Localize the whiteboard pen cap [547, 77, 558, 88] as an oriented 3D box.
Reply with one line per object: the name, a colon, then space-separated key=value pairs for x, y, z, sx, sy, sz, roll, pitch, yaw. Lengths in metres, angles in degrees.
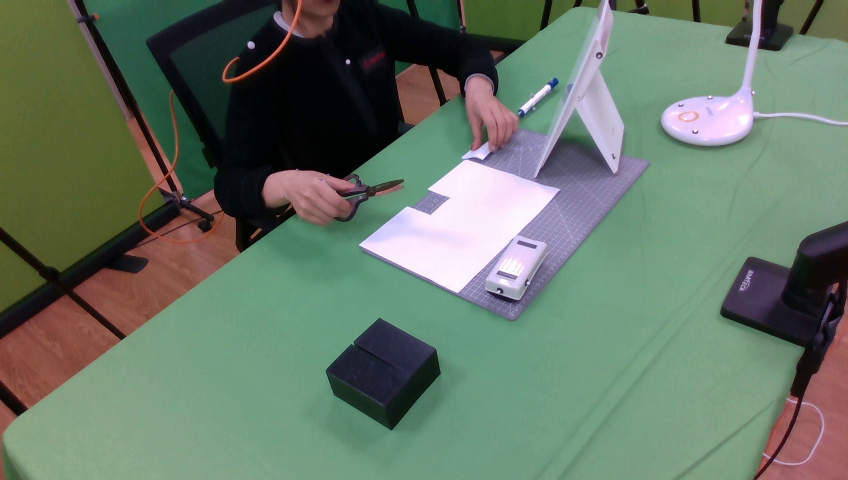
whiteboard pen cap: x=0.279 y=-0.341 z=1.321 sx=0.018 sy=0.018 sz=0.033 roll=22 pitch=52 yaw=31

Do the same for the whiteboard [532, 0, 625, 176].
whiteboard: x=0.320 y=-0.259 z=1.050 sx=0.144 sy=0.306 sz=0.217 roll=21 pitch=45 yaw=5

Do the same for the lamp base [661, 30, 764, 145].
lamp base: x=0.535 y=-0.287 z=1.096 sx=0.179 sy=0.181 sz=0.159 roll=-10 pitch=40 yaw=-4

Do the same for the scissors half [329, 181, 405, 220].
scissors half: x=-0.091 y=-0.065 z=0.944 sx=0.174 sy=0.013 sz=0.040 roll=-19 pitch=60 yaw=40

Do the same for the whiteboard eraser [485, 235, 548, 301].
whiteboard eraser: x=0.137 y=0.042 z=0.887 sx=0.055 sy=0.042 sz=0.113 roll=15 pitch=46 yaw=27

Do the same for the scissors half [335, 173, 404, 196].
scissors half: x=-0.086 y=-0.085 z=0.950 sx=0.173 sy=0.013 sz=0.040 roll=11 pitch=75 yaw=49

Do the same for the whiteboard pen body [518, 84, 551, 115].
whiteboard pen body: x=0.242 y=-0.306 z=1.290 sx=0.017 sy=0.017 sz=0.141 roll=24 pitch=52 yaw=32
